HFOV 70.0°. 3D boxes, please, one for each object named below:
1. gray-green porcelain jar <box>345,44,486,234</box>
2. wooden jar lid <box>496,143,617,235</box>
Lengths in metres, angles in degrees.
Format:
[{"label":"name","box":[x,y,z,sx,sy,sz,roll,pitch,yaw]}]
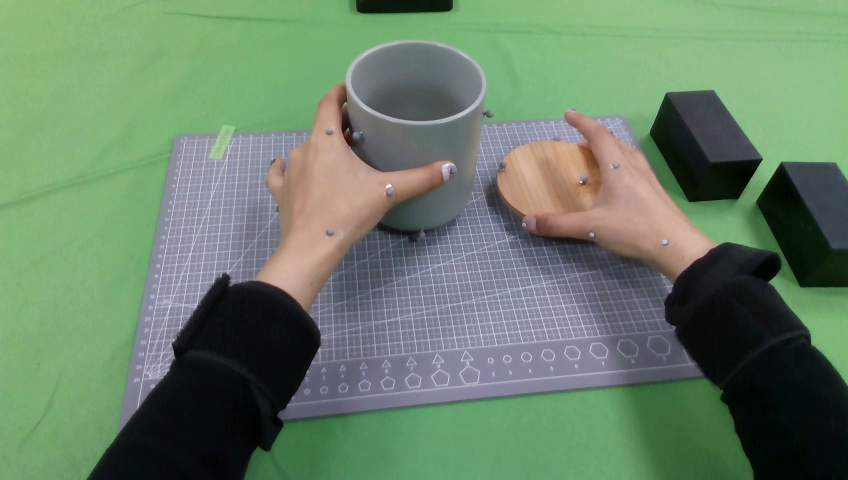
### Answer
[{"label":"gray-green porcelain jar","box":[-0.009,-0.076,0.496,0.106,0.127,0.105,2,50,-2]},{"label":"wooden jar lid","box":[0.118,-0.045,0.547,0.108,0.021,0.107,1,49,0]}]
